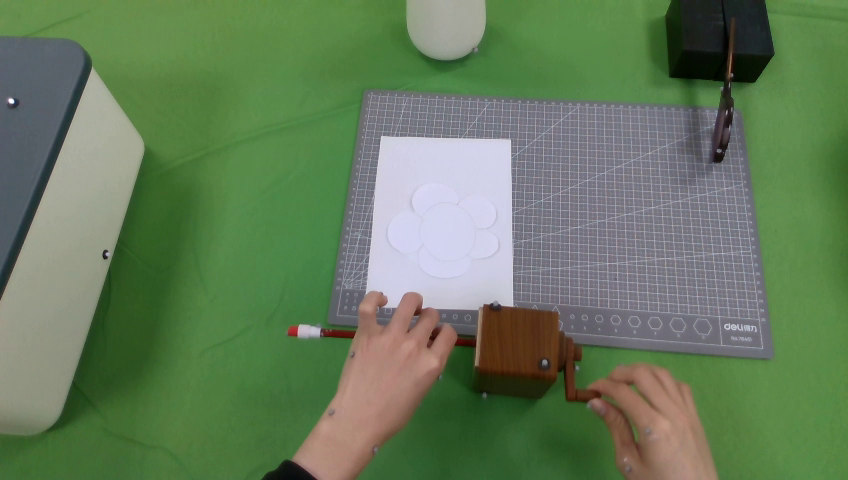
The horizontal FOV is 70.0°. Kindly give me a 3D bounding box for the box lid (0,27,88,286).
[{"bbox_3d":[-0.466,-0.043,0.524,0.263,0.015,0.369,4,67,3],"label":"box lid"}]

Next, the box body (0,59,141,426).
[{"bbox_3d":[-0.463,-0.011,0.592,0.254,0.161,0.361,4,67,4],"label":"box body"}]

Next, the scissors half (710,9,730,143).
[{"bbox_3d":[0.331,-0.185,0.666,0.013,0.040,0.174,9,68,15],"label":"scissors half"}]

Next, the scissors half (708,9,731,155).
[{"bbox_3d":[0.336,-0.180,0.685,0.012,0.040,0.175,8,86,20],"label":"scissors half"}]

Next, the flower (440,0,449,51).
[{"bbox_3d":[0.010,-0.353,0.611,0.044,0.365,0.038,-3,49,5],"label":"flower"}]

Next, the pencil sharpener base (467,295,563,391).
[{"bbox_3d":[0.082,0.098,0.560,0.076,0.108,0.061,5,67,4],"label":"pencil sharpener base"}]

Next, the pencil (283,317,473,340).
[{"bbox_3d":[-0.027,0.080,0.537,0.194,0.012,0.012,4,67,0],"label":"pencil"}]

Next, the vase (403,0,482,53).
[{"bbox_3d":[0.019,-0.308,0.682,0.098,0.201,0.097,-1,66,3],"label":"vase"}]

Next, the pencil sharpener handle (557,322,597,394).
[{"bbox_3d":[0.130,0.102,0.520,0.030,0.036,0.067,5,44,4],"label":"pencil sharpener handle"}]
